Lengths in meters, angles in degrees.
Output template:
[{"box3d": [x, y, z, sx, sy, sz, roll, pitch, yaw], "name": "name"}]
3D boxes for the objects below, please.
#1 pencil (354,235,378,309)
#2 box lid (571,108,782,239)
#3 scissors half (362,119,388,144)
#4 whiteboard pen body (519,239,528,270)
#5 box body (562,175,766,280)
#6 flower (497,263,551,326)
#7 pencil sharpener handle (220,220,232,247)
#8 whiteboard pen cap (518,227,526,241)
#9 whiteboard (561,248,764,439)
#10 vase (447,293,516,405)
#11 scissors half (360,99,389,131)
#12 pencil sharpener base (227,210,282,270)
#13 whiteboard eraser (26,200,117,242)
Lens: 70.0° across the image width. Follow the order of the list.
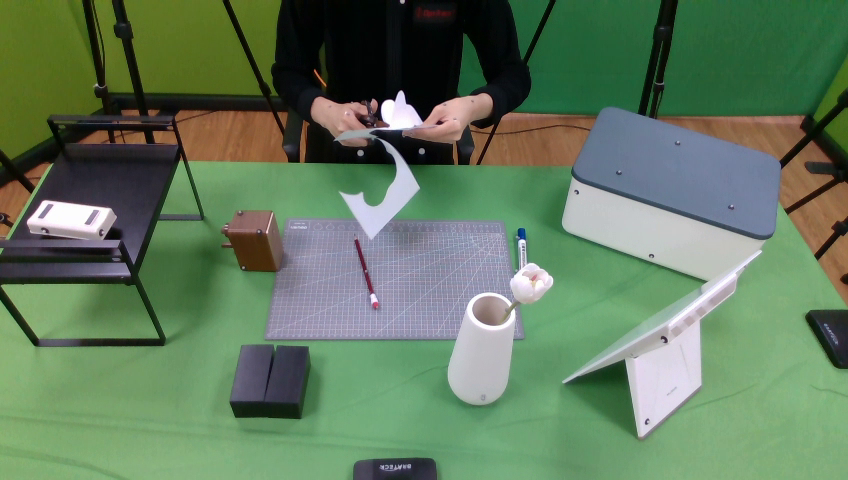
[{"box3d": [-0.112, 0.055, 1.143, 0.012, 0.012, 0.192, -10, 46, -13], "name": "pencil"}, {"box3d": [0.491, -0.139, 1.168, 0.370, 0.015, 0.262, 20, 49, 15], "name": "box lid"}, {"box3d": [-0.084, -0.192, 1.053, 0.013, 0.040, 0.175, -9, 5, -16], "name": "scissors half"}, {"box3d": [0.193, 0.035, 1.181, 0.017, 0.017, 0.140, 6, 48, 1], "name": "whiteboard pen body"}, {"box3d": [0.486, -0.088, 1.222, 0.363, 0.161, 0.253, 20, 48, 15], "name": "box body"}, {"box3d": [0.103, 0.121, 0.852, 0.044, 0.363, 0.038, -2, 64, -10], "name": "flower"}, {"box3d": [-0.362, -0.009, 1.104, 0.030, 0.068, 0.036, 1, 52, 1], "name": "pencil sharpener handle"}, {"box3d": [0.197, -0.009, 1.220, 0.018, 0.018, 0.033, 5, 51, 1], "name": "whiteboard pen cap"}, {"box3d": [0.386, 0.176, 0.905, 0.217, 0.306, 0.143, -26, 72, -27], "name": "whiteboard"}, {"box3d": [0.091, 0.168, 0.921, 0.098, 0.201, 0.097, 3, 47, -3], "name": "vase"}, {"box3d": [-0.086, -0.212, 1.047, 0.013, 0.040, 0.174, -14, 29, -15], "name": "scissors half"}, {"box3d": [-0.311, 0.001, 1.112, 0.077, 0.107, 0.061, 1, 47, 1], "name": "pencil sharpener base"}, {"box3d": [-0.532, -0.026, 0.919, 0.113, 0.042, 0.055, 7, 45, 3], "name": "whiteboard eraser"}]
